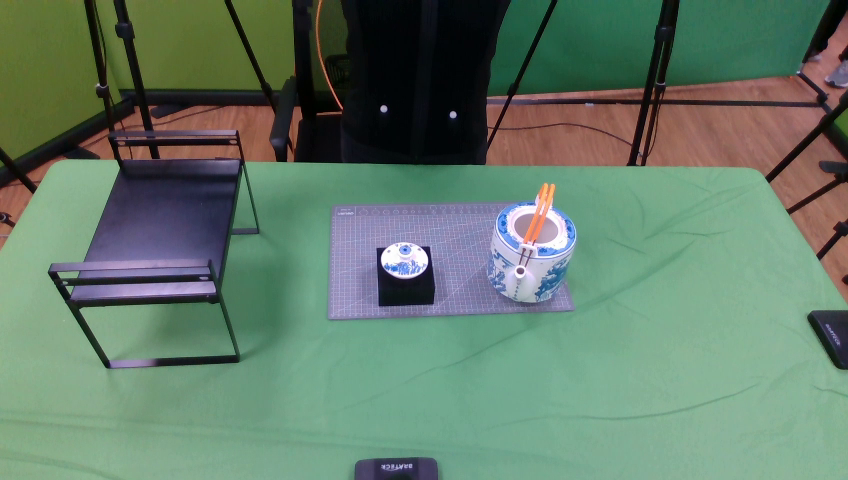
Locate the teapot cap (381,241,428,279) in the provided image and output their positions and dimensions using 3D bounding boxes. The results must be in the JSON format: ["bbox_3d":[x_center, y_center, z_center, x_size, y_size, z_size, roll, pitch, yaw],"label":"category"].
[{"bbox_3d":[-0.034,0.031,1.075,0.085,0.044,0.084,2,49,-2],"label":"teapot cap"}]

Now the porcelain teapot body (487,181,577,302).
[{"bbox_3d":[0.185,0.018,1.048,0.145,0.226,0.204,15,48,10],"label":"porcelain teapot body"}]
